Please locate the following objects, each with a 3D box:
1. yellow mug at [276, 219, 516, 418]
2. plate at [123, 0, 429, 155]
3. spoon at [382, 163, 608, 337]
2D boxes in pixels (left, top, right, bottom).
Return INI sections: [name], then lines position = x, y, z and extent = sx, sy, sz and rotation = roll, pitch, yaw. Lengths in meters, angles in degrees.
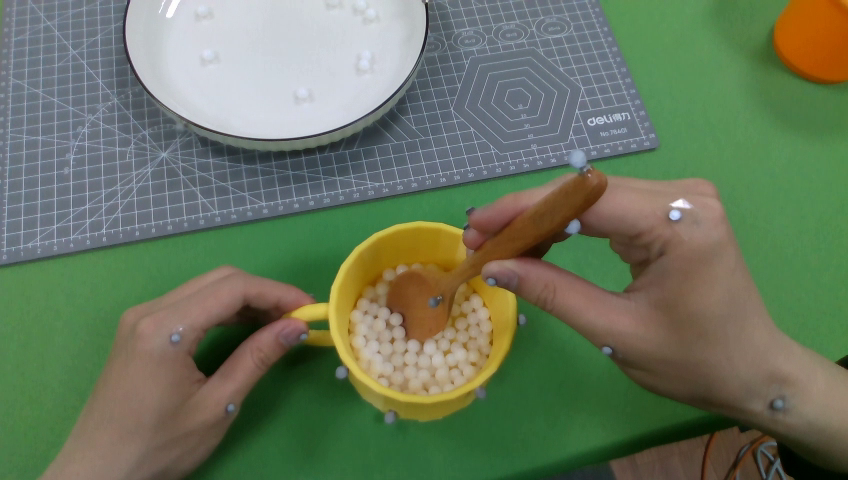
[yellow mug]
position = -0.017, 0.047, 0.343
extent = 0.131, 0.064, 0.099
rotation = -2, 67, -3
[plate]
position = -0.100, -0.146, 0.432
extent = 0.208, 0.039, 0.206
rotation = 1, 67, -3
[spoon]
position = 0.021, 0.013, 0.281
extent = 0.021, 0.194, 0.041
rotation = -29, 84, -27
